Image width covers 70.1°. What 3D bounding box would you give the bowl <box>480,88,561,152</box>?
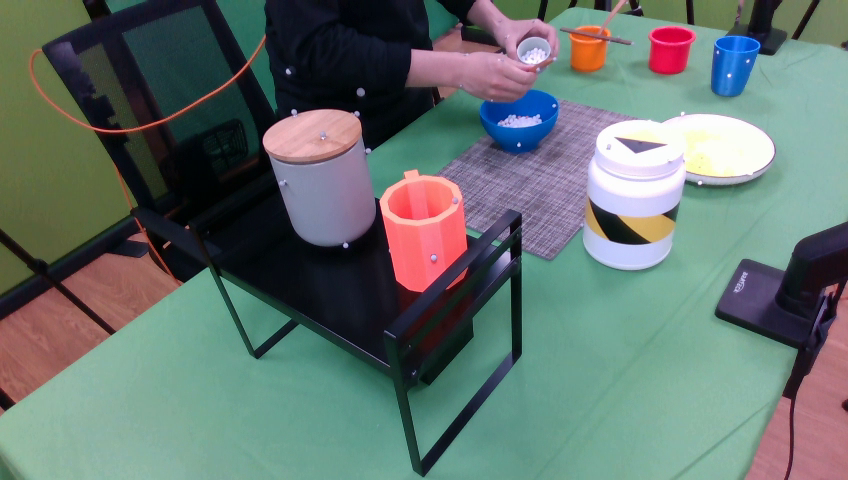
[{"bbox_3d":[0.185,-0.222,1.160,0.151,0.077,0.150,-4,40,4],"label":"bowl"}]

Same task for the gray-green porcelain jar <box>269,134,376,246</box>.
[{"bbox_3d":[-0.115,-0.064,0.715,0.106,0.127,0.105,-4,40,4],"label":"gray-green porcelain jar"}]

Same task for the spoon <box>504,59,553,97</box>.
[{"bbox_3d":[0.177,-0.275,1.028,0.042,0.021,0.193,-7,-4,-9],"label":"spoon"}]

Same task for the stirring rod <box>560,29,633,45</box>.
[{"bbox_3d":[0.381,-0.452,1.345,0.174,0.006,0.014,25,49,33],"label":"stirring rod"}]

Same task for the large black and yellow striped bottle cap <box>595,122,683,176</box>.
[{"bbox_3d":[0.293,-0.126,0.826,0.115,0.019,0.114,-3,40,3],"label":"large black and yellow striped bottle cap"}]

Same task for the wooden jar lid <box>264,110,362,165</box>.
[{"bbox_3d":[-0.122,-0.112,0.673,0.108,0.021,0.108,-4,37,4],"label":"wooden jar lid"}]

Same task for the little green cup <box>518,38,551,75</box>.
[{"bbox_3d":[0.208,-0.342,1.135,0.061,0.039,0.061,-3,69,7],"label":"little green cup"}]

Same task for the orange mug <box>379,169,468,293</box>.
[{"bbox_3d":[-0.002,-0.019,0.665,0.083,0.101,0.125,-12,45,-4],"label":"orange mug"}]

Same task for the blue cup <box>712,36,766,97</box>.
[{"bbox_3d":[0.627,-0.350,1.227,0.092,0.100,0.092,-4,39,4],"label":"blue cup"}]

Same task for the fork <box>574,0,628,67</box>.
[{"bbox_3d":[0.413,-0.481,1.377,0.207,0.019,0.028,-56,43,12],"label":"fork"}]

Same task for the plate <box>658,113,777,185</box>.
[{"bbox_3d":[0.506,-0.158,1.073,0.209,0.038,0.208,-5,40,4],"label":"plate"}]

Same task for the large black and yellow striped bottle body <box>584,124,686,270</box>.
[{"bbox_3d":[0.304,-0.063,0.880,0.131,0.185,0.130,-5,41,5],"label":"large black and yellow striped bottle body"}]
